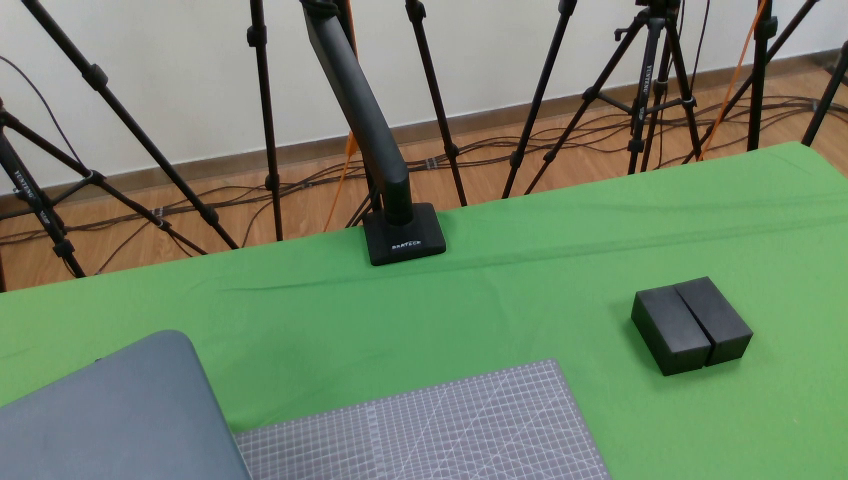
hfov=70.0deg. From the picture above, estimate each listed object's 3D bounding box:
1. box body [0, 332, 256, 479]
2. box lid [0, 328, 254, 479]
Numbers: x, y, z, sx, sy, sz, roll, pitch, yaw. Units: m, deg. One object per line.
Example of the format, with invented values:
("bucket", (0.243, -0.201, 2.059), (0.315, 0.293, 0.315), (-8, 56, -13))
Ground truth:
("box body", (-0.341, 0.291, 0.573), (0.364, 0.162, 0.251), (-26, 48, -20))
("box lid", (-0.345, 0.238, 0.520), (0.372, 0.015, 0.260), (-26, 49, -20))
